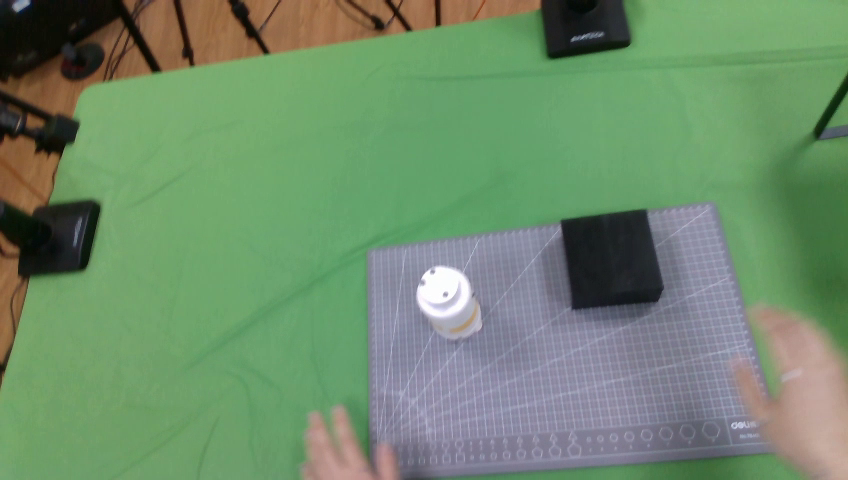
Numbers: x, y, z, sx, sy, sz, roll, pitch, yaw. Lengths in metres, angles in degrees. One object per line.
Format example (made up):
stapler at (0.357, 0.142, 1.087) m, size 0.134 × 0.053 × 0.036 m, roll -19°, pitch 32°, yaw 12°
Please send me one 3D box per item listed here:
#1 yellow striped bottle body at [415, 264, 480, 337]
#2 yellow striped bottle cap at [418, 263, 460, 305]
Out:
yellow striped bottle body at (0.027, 0.069, 0.708) m, size 0.062 × 0.121 × 0.062 m, roll -5°, pitch 66°, yaw 11°
yellow striped bottle cap at (0.016, 0.047, 0.661) m, size 0.044 × 0.019 × 0.044 m, roll -5°, pitch 67°, yaw 13°
